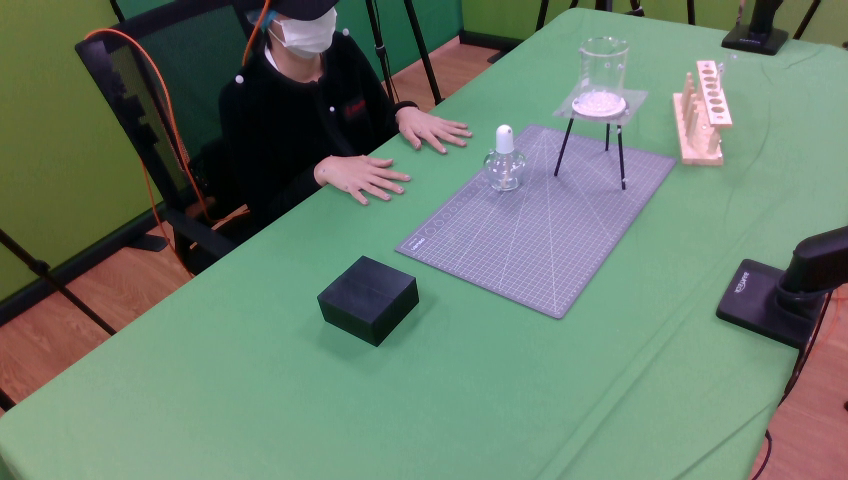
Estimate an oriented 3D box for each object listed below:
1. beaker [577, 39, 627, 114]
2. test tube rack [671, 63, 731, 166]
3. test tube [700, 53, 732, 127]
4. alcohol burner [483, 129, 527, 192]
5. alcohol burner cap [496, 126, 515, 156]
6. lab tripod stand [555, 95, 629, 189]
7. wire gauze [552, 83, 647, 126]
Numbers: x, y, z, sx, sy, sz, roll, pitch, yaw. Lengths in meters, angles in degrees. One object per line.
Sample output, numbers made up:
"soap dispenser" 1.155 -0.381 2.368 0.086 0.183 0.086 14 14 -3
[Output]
"beaker" 0.286 -0.264 0.976 0.073 0.100 0.084 25 49 33
"test tube rack" 0.513 -0.241 1.132 0.066 0.085 0.242 4 41 14
"test tube" 0.521 -0.265 1.081 0.017 0.151 0.017 -3 47 3
"alcohol burner" 0.141 -0.144 1.050 0.078 0.119 0.077 -4 42 4
"alcohol burner cap" 0.138 -0.172 1.028 0.034 0.048 0.033 -5 38 5
"lab tripod stand" 0.300 -0.174 1.045 0.148 0.132 0.147 -5 38 5
"wire gauze" 0.293 -0.224 1.004 0.120 0.011 0.125 19 43 26
